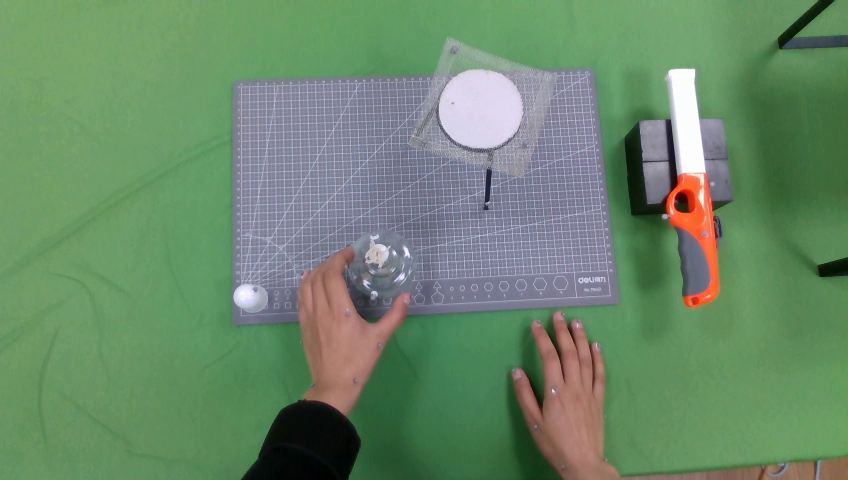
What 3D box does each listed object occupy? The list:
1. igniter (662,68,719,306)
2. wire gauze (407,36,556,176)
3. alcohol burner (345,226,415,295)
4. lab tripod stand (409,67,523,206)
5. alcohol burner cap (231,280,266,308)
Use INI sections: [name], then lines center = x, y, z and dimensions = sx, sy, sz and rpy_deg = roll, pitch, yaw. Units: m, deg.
[igniter]
center = 0.297, -0.064, 0.683
dimensions = 0.057, 0.025, 0.275
rpy_deg = -1, 78, 2
[wire gauze]
center = 0.060, -0.135, 0.610
dimensions = 0.121, 0.011, 0.124
rpy_deg = 20, 78, 1
[alcohol burner]
center = -0.049, 0.020, 0.656
dimensions = 0.078, 0.119, 0.077
rpy_deg = 0, 80, -2
[lab tripod stand]
center = 0.055, -0.125, 0.676
dimensions = 0.148, 0.132, 0.147
rpy_deg = 0, 77, -1
[alcohol burner cap]
center = -0.199, 0.059, 0.679
dimensions = 0.034, 0.048, 0.033
rpy_deg = 1, 79, -3
